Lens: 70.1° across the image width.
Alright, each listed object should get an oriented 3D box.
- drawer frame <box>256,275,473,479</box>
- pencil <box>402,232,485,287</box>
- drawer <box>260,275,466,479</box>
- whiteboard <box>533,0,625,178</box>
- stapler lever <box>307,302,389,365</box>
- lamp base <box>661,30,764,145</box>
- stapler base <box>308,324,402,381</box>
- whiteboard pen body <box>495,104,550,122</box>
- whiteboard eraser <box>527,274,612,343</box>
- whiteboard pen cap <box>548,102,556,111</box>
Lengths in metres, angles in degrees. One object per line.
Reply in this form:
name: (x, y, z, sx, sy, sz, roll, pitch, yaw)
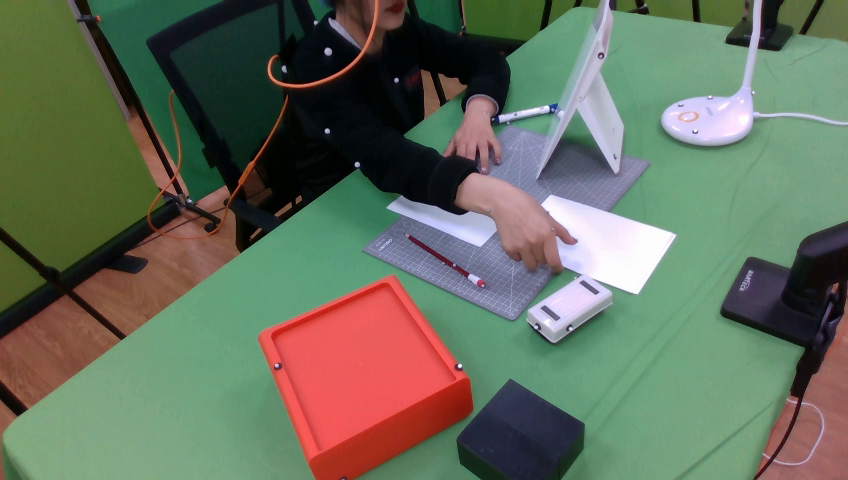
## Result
drawer frame: (-0.078, 0.164, 0.756, 0.202, 0.083, 0.211, -23, 43, -17)
pencil: (0.026, 0.027, 0.949, 0.012, 0.012, 0.192, -34, 45, -26)
drawer: (-0.080, 0.163, 0.760, 0.195, 0.073, 0.210, -22, 42, -16)
whiteboard: (0.321, -0.258, 1.049, 0.144, 0.306, 0.217, 20, 45, 4)
stapler lever: (-0.101, 0.121, 0.799, 0.118, 0.040, 0.026, -26, 29, -17)
lamp base: (0.535, -0.287, 1.096, 0.179, 0.181, 0.159, -10, 40, -4)
stapler base: (-0.094, 0.142, 0.812, 0.131, 0.024, 0.041, -25, 29, -17)
whiteboard pen body: (0.216, -0.266, 1.256, 0.141, 0.017, 0.017, -13, 40, -5)
whiteboard eraser: (0.198, 0.094, 0.820, 0.113, 0.042, 0.055, -29, 43, -22)
whiteboard pen cap: (0.273, -0.278, 1.259, 0.033, 0.018, 0.018, -10, 40, -5)
